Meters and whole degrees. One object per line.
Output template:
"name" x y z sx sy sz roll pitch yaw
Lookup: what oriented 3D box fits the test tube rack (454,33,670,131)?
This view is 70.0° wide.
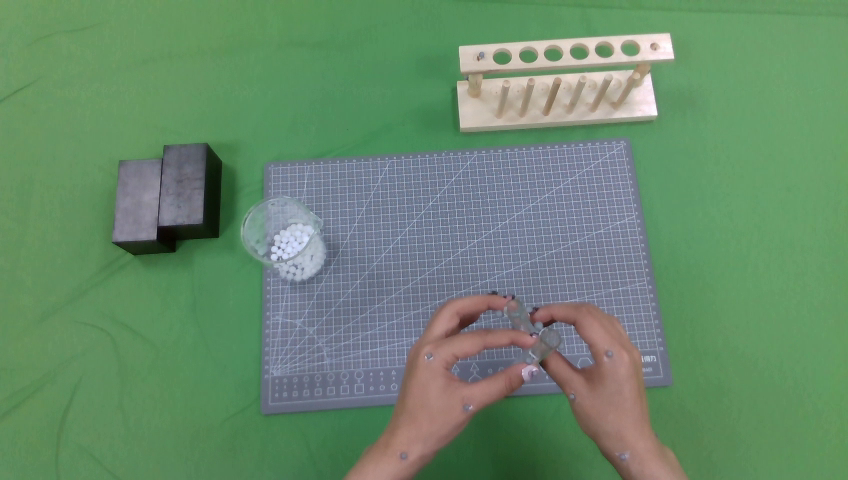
"test tube rack" 0.160 -0.187 0.726 0.242 0.085 0.066 -3 73 0

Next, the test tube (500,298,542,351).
"test tube" 0.087 0.076 0.523 0.017 0.152 0.017 -6 68 16

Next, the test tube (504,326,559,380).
"test tube" 0.084 0.095 0.493 0.017 0.151 0.017 1 68 -2

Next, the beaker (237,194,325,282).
"beaker" -0.149 0.002 0.664 0.084 0.101 0.073 -11 74 -3
